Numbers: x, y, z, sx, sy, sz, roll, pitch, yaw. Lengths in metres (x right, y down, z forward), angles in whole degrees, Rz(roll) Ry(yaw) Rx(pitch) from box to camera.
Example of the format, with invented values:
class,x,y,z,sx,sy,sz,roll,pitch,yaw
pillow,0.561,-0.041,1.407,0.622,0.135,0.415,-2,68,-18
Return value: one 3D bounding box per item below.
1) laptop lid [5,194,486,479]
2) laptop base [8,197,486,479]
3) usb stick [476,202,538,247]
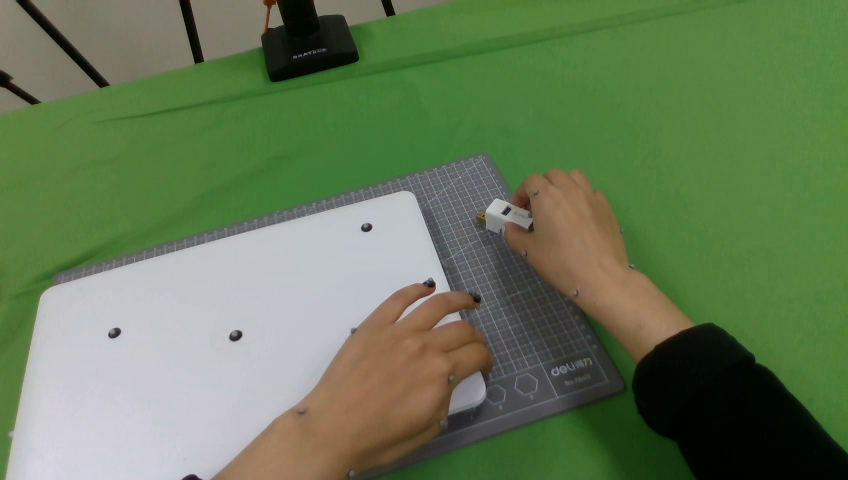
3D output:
class,x,y,z,sx,sy,sz,roll,pitch,yaw
laptop lid,-0.151,0.083,0.493,0.357,0.013,0.239,-15,49,-4
laptop base,-0.150,0.089,0.503,0.355,0.023,0.233,-16,51,-6
usb stick,0.074,-0.017,0.555,0.058,0.027,0.021,21,55,30
